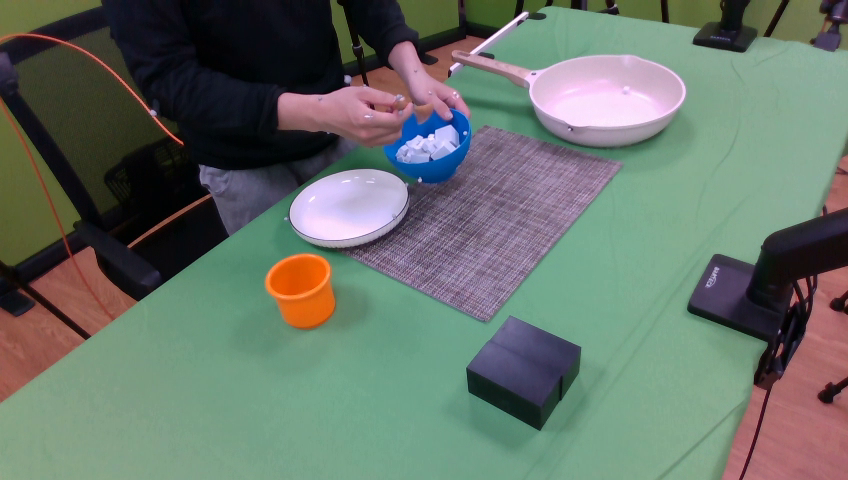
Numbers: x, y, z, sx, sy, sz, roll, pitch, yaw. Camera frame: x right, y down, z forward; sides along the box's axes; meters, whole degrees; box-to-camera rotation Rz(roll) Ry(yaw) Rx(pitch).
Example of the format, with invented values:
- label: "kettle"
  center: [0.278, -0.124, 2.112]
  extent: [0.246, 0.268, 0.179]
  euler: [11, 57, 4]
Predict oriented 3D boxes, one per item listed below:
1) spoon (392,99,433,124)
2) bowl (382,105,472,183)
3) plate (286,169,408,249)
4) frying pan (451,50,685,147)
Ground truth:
- label: "spoon"
  center: [-0.019, -0.194, 0.893]
  extent: [0.021, 0.041, 0.194]
  euler: [39, 15, 9]
- label: "bowl"
  center: [0.012, -0.150, 1.014]
  extent: [0.151, 0.077, 0.150]
  euler: [-9, 46, 10]
- label: "plate"
  center: [-0.127, -0.050, 1.028]
  extent: [0.207, 0.039, 0.206]
  euler: [-5, 39, 5]
- label: "frying pan"
  center: [0.269, -0.316, 1.233]
  extent: [0.485, 0.103, 0.307]
  euler: [26, 49, 21]
